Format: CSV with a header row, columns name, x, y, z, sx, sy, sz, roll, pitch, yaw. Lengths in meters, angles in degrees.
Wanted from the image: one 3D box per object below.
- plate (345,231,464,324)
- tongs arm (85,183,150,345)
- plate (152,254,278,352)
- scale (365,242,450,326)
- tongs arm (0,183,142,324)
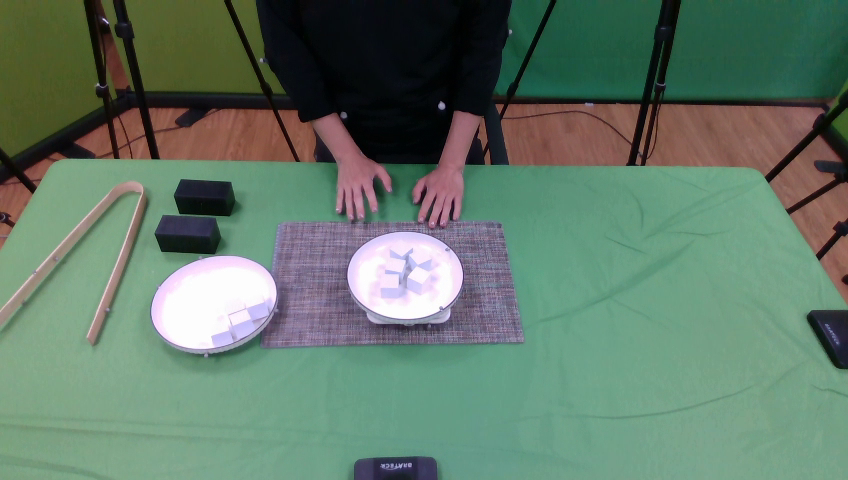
name,x,y,z,sx,sy,sz,roll,pitch,yaw
plate,-0.034,0.069,1.069,0.209,0.038,0.208,2,46,-2
tongs arm,-0.561,0.029,1.121,0.028,0.028,0.385,-3,46,-2
plate,-0.357,0.111,1.052,0.208,0.039,0.206,2,46,-2
scale,-0.032,0.071,1.113,0.149,0.032,0.199,0,46,-4
tongs arm,-0.648,0.017,1.121,0.051,0.026,0.383,11,45,6
